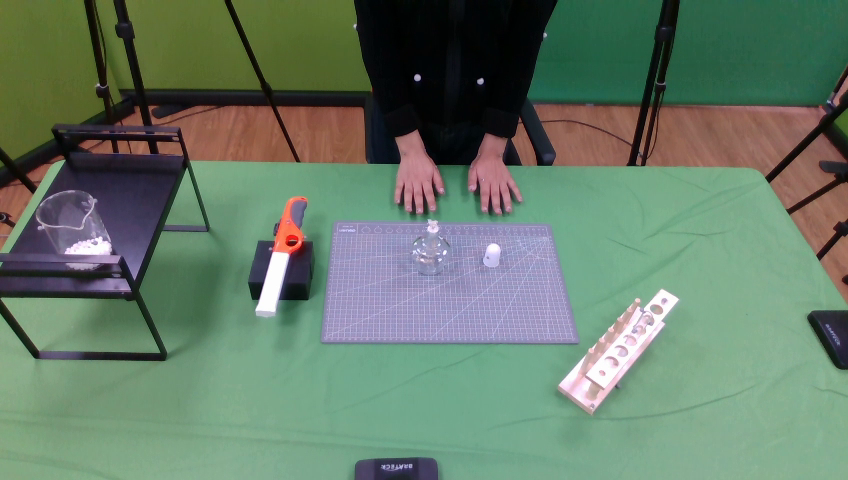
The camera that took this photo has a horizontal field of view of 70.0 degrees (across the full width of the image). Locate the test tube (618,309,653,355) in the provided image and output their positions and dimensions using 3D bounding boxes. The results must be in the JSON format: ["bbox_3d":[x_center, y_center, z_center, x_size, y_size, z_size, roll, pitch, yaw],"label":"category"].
[{"bbox_3d":[0.329,0.155,0.956,0.017,0.151,0.017,2,51,-2],"label":"test tube"}]

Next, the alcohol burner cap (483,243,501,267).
[{"bbox_3d":[0.132,0.025,1.161,0.034,0.048,0.033,3,47,-3],"label":"alcohol burner cap"}]

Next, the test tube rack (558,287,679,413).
[{"bbox_3d":[0.326,0.170,1.009,0.066,0.085,0.242,36,54,27],"label":"test tube rack"}]

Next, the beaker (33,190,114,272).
[{"bbox_3d":[-0.493,-0.009,0.865,0.083,0.101,0.074,37,55,27],"label":"beaker"}]

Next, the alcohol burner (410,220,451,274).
[{"bbox_3d":[0.013,0.007,1.120,0.078,0.120,0.077,1,48,-1],"label":"alcohol burner"}]

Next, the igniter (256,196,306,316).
[{"bbox_3d":[-0.255,0.019,1.090,0.057,0.025,0.275,6,48,-2],"label":"igniter"}]
